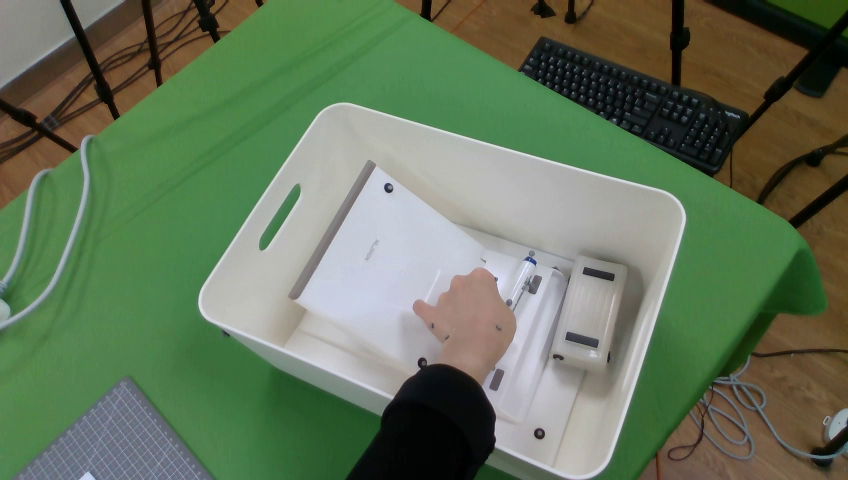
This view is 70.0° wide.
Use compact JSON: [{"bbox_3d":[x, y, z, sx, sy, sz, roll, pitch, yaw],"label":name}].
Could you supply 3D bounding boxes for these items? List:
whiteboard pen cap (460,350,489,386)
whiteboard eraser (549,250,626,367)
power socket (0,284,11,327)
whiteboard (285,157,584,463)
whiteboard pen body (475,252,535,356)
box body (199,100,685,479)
[{"bbox_3d":[0.050,0.123,0.581,0.018,0.018,0.033,21,66,19],"label":"whiteboard pen cap"},{"bbox_3d":[0.164,0.068,0.604,0.055,0.042,0.112,10,65,21],"label":"whiteboard eraser"},{"bbox_3d":[-0.580,0.139,0.694,0.071,0.033,0.226,32,70,22],"label":"power socket"},{"bbox_3d":[0.015,0.045,0.597,0.304,0.145,0.216,18,64,18],"label":"whiteboard"},{"bbox_3d":[0.076,0.074,0.600,0.017,0.017,0.140,23,71,20],"label":"whiteboard pen body"},{"bbox_3d":[0.021,0.048,0.583,0.362,0.162,0.253,19,66,17],"label":"box body"}]
